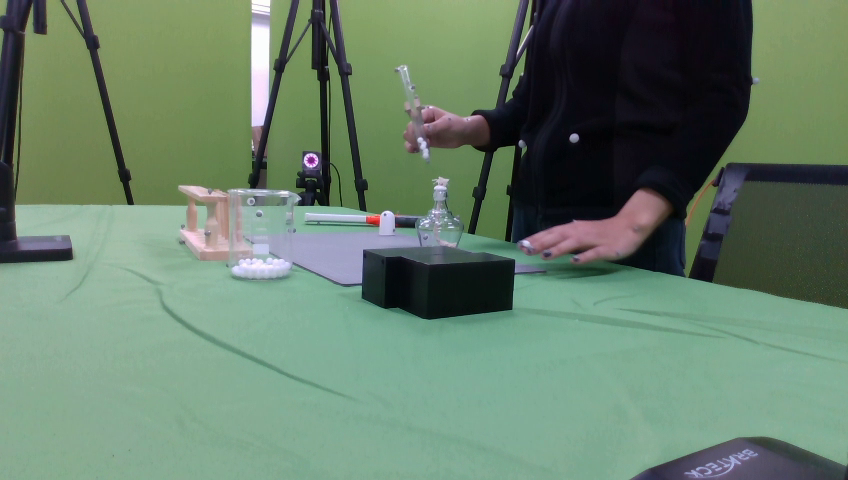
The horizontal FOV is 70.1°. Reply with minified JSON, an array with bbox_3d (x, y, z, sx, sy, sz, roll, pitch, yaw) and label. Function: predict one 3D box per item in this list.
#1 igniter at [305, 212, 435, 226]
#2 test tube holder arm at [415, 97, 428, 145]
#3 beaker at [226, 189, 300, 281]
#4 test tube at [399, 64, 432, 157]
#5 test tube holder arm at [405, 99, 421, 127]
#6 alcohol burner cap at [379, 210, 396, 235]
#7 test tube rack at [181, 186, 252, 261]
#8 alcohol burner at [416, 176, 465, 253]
[{"bbox_3d":[-0.114,-0.046,1.296,0.277,0.025,0.057,1,-2,-11],"label":"igniter"},{"bbox_3d":[-0.003,-0.192,0.995,0.013,0.015,0.178,-13,-11,3],"label":"test tube holder arm"},{"bbox_3d":[-0.184,-0.007,0.694,0.084,0.100,0.073,-1,8,-29],"label":"beaker"},{"bbox_3d":[-0.012,-0.199,0.927,0.017,0.150,0.017,-15,-6,-1],"label":"test tube"},{"bbox_3d":[-0.014,-0.198,0.951,0.010,0.015,0.088,-15,-12,10],"label":"test tube holder arm"},{"bbox_3d":[-0.067,-0.033,1.129,0.034,0.048,0.034,1,7,0],"label":"alcohol burner cap"},{"bbox_3d":[-0.312,-0.031,0.893,0.067,0.085,0.241,-1,8,-27],"label":"test tube rack"},{"bbox_3d":[0.025,-0.040,0.935,0.078,0.119,0.078,1,6,0],"label":"alcohol burner"}]
